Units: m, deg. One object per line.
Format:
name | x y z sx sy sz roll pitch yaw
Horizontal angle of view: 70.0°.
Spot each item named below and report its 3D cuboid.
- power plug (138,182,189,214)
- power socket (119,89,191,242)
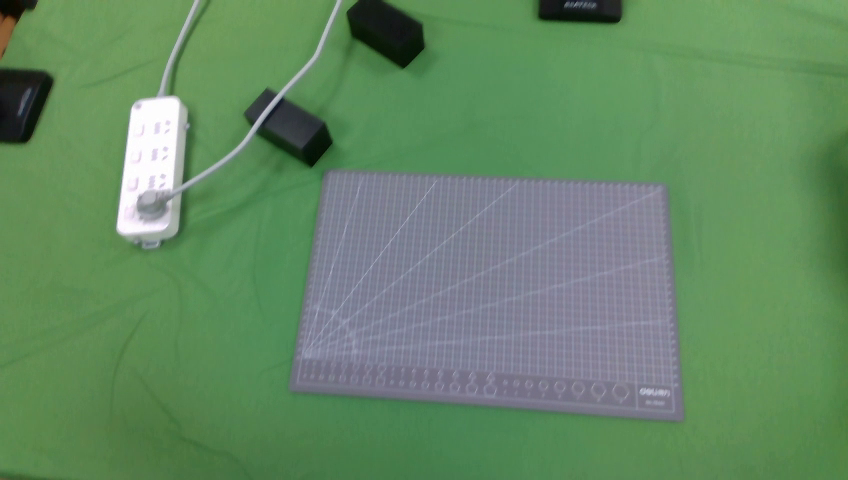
power plug | -0.328 -0.050 0.770 0.072 0.053 0.035 4 69 6
power socket | -0.360 -0.107 0.818 0.072 0.033 0.225 -4 68 1
